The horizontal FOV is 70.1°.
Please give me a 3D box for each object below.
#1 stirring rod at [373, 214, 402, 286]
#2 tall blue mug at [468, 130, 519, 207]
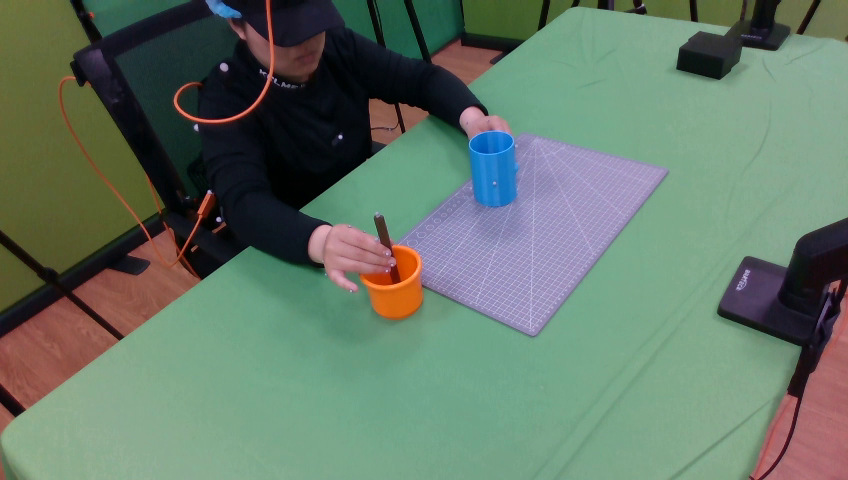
[{"bbox_3d":[-0.050,0.018,0.843,0.014,0.177,0.006,-3,56,5],"label":"stirring rod"},{"bbox_3d":[0.114,-0.131,1.045,0.078,0.108,0.106,-20,41,-11],"label":"tall blue mug"}]
